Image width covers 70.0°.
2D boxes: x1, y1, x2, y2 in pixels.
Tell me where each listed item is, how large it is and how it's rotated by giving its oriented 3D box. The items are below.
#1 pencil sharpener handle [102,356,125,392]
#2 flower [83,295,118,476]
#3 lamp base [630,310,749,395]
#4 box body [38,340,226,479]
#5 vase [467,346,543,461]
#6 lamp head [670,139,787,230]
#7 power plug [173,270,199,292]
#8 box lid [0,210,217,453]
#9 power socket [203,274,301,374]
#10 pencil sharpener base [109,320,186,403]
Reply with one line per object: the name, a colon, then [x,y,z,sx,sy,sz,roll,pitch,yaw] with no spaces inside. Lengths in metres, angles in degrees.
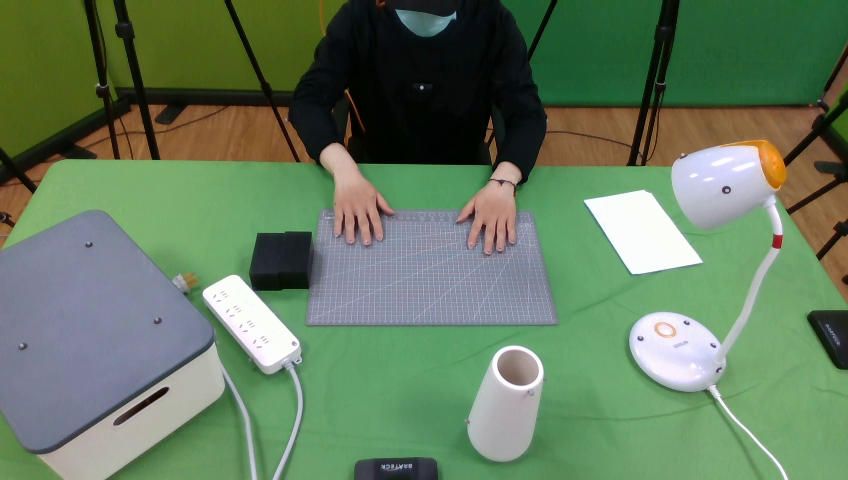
pencil sharpener handle: [-0.460,0.200,0.887,0.030,0.068,0.036,-30,61,-27]
flower: [-0.513,0.210,0.960,0.044,0.038,0.359,5,35,-32]
lamp base: [0.447,0.142,0.984,0.161,0.181,0.178,-24,55,-24]
box body: [-0.504,0.154,0.917,0.362,0.161,0.254,36,54,27]
vase: [0.116,0.234,0.861,0.098,0.201,0.097,1,47,-1]
lamp head: [0.415,-0.079,0.812,0.113,0.123,0.112,13,70,-37]
power plug: [-0.420,0.090,1.084,0.052,0.035,0.072,-31,86,-18]
box lid: [-0.502,0.102,0.865,0.369,0.015,0.263,36,54,27]
power socket: [-0.296,0.140,1.035,0.072,0.033,0.225,-32,57,-29]
pencil sharpener base: [-0.419,0.187,0.919,0.077,0.107,0.061,-30,54,-27]
